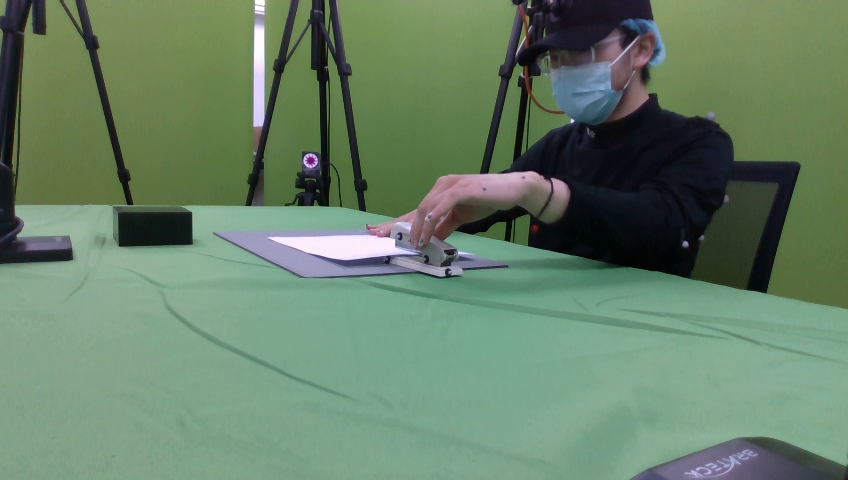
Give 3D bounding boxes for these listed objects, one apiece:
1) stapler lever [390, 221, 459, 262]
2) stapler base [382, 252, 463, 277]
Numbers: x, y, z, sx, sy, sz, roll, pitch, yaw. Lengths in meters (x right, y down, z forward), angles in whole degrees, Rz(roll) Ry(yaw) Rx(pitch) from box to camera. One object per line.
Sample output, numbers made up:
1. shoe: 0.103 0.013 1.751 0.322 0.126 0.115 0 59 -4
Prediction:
1. stapler lever: -0.002 0.001 0.786 0.027 0.040 0.117 -6 12 -39
2. stapler base: -0.005 0.024 0.790 0.041 0.024 0.130 -6 13 -39
